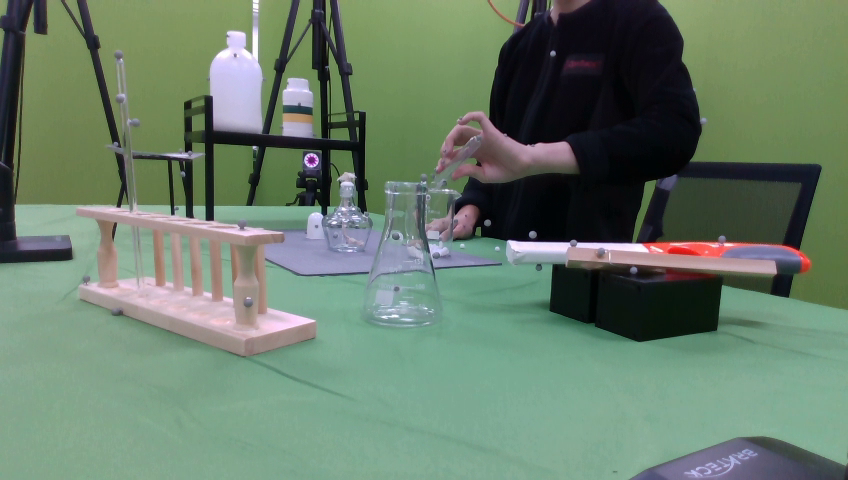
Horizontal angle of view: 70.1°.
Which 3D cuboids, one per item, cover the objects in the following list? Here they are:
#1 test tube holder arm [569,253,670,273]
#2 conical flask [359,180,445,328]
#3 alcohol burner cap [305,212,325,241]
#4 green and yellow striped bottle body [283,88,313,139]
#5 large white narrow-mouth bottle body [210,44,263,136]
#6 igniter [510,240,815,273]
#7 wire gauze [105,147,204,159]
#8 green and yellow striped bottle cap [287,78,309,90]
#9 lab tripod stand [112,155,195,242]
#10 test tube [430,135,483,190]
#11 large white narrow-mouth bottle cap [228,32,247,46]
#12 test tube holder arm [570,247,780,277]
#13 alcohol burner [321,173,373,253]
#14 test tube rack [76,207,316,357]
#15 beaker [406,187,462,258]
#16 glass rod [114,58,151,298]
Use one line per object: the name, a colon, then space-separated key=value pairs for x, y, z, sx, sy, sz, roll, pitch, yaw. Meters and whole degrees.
test tube holder arm: x=0.172 y=0.019 z=0.532 sx=0.088 sy=0.015 sz=0.010 roll=3 pitch=-23 yaw=3
conical flask: x=-0.017 y=0.010 z=0.522 sx=0.075 sy=0.122 sz=0.075 roll=2 pitch=8 yaw=0
alcohol burner cap: x=-0.185 y=-0.023 z=1.027 sx=0.034 sy=0.048 sz=0.034 roll=2 pitch=7 yaw=0
green and yellow striped bottle body: x=-0.266 y=-0.275 z=1.275 sx=0.063 sy=0.119 sz=0.063 roll=3 pitch=7 yaw=0
large white narrow-mouth bottle body: x=-0.369 y=-0.305 z=1.194 sx=0.102 sy=0.194 sz=0.102 roll=3 pitch=8 yaw=0
igniter: x=0.220 y=0.015 z=0.565 sx=0.277 sy=0.025 sz=0.057 roll=2 pitch=16 yaw=0
wire gauze: x=-0.407 y=-0.131 z=0.929 sx=0.125 sy=0.011 sz=0.121 roll=2 pitch=6 yaw=-11
green and yellow striped bottle cap: x=-0.265 y=-0.326 z=1.268 sx=0.045 sy=0.020 sz=0.045 roll=4 pitch=6 yaw=0
lab tripod stand: x=-0.405 y=-0.064 z=0.931 sx=0.148 sy=0.131 sz=0.148 roll=1 pitch=6 yaw=0
test tube: x=0.042 y=-0.101 z=0.813 sx=0.017 sy=0.017 sz=0.150 roll=-1 pitch=-18 yaw=-22
large white narrow-mouth bottle cap: x=-0.364 y=-0.391 z=1.180 sx=0.038 sy=0.024 sz=0.037 roll=3 pitch=8 yaw=0
test tube holder arm: x=0.217 y=0.019 z=0.525 sx=0.178 sy=0.015 sz=0.013 roll=3 pitch=-23 yaw=3
alcohol burner: x=-0.115 y=-0.041 z=0.905 sx=0.078 sy=0.119 sz=0.078 roll=1 pitch=6 yaw=0
test tube rack: x=-0.196 y=0.023 z=0.500 sx=0.241 sy=0.085 sz=0.067 roll=8 pitch=9 yaw=36
beaker: x=0.013 y=-0.026 z=0.892 sx=0.084 sy=0.100 sz=0.074 roll=2 pitch=8 yaw=-1
glass rod: x=-0.236 y=-0.044 z=0.492 sx=0.008 sy=0.199 sz=0.008 roll=0 pitch=15 yaw=0
